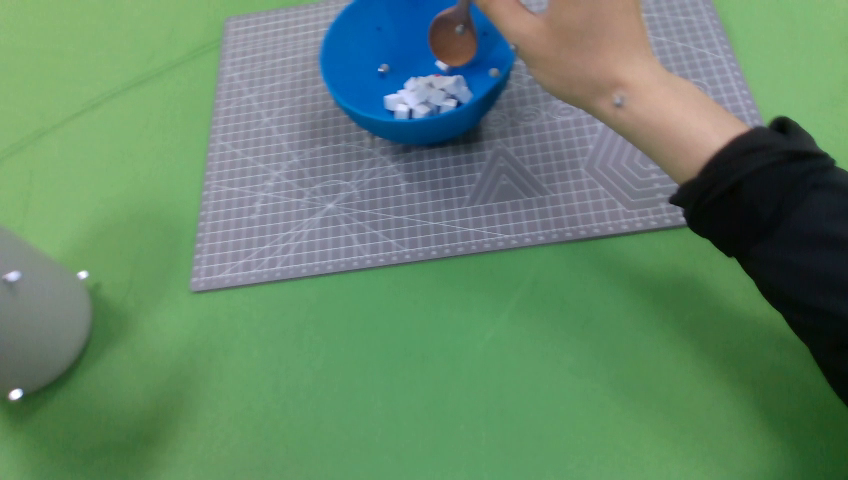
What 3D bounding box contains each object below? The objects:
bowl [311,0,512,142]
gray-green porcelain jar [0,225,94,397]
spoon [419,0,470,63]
[{"bbox_3d":[-0.005,-0.131,0.480,0.151,0.077,0.150,-4,62,7],"label":"bowl"},{"bbox_3d":[-0.304,0.046,0.413,0.106,0.127,0.105,-4,62,8],"label":"gray-green porcelain jar"},{"bbox_3d":[0.025,-0.164,0.396,0.042,0.193,0.021,30,83,-3],"label":"spoon"}]
